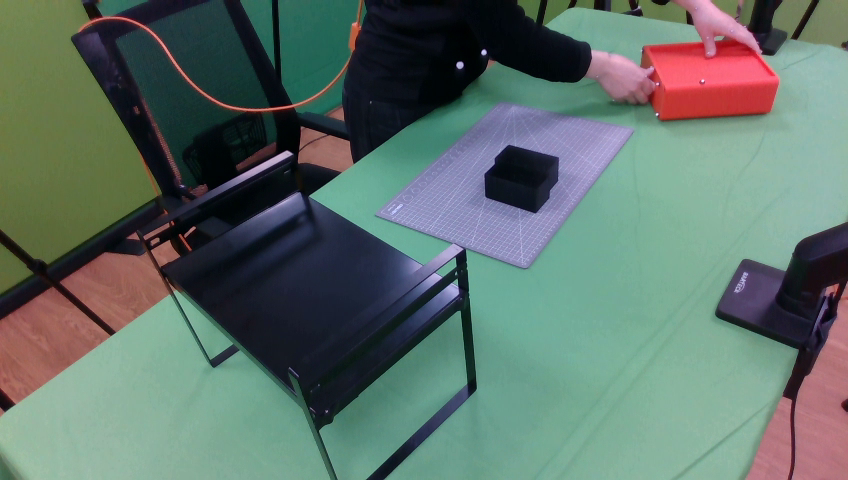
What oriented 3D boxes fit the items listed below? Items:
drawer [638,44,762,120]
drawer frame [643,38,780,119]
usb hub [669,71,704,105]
[{"bbox_3d":[0.562,-0.326,1.228,0.212,0.073,0.193,-1,40,5],"label":"drawer"},{"bbox_3d":[0.564,-0.329,1.227,0.213,0.083,0.201,-2,41,5],"label":"drawer frame"},{"bbox_3d":[0.532,-0.310,1.228,0.049,0.025,0.125,-8,30,18],"label":"usb hub"}]
